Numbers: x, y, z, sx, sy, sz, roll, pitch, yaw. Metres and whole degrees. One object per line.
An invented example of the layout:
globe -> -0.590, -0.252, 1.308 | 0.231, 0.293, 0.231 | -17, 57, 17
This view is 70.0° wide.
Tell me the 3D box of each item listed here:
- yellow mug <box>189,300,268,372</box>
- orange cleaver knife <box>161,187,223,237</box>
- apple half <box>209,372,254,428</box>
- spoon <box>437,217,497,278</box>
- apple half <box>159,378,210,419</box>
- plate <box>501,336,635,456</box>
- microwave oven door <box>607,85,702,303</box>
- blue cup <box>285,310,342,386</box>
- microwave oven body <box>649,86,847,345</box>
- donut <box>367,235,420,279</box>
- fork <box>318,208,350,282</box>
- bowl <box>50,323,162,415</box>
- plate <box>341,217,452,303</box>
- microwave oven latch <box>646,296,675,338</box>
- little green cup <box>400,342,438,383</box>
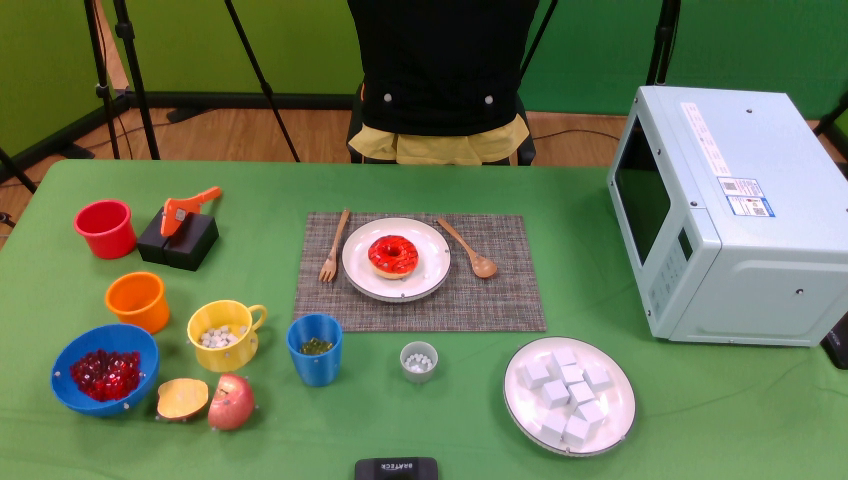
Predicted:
yellow mug -> -0.316, 0.148, 1.002 | 0.131, 0.064, 0.099 | -32, 55, -31
orange cleaver knife -> -0.448, -0.059, 1.181 | 0.012, 0.077, 0.211 | 14, 17, 6
apple half -> -0.282, 0.243, 0.908 | 0.053, 0.075, 0.080 | 7, 42, -2
spoon -> 0.080, 0.010, 1.188 | 0.041, 0.022, 0.192 | -34, 55, -7
apple half -> -0.366, 0.247, 0.926 | 0.081, 0.033, 0.081 | 8, 31, -5
plate -> 0.225, 0.248, 0.963 | 0.208, 0.039, 0.206 | 2, 46, -2
microwave oven door -> 0.423, -0.094, 1.141 | 0.039, 0.245, 0.353 | 2, 46, -1
blue cup -> -0.170, 0.179, 0.958 | 0.093, 0.101, 0.092 | 2, 44, -1
microwave oven body -> 0.568, -0.053, 1.118 | 0.326, 0.261, 0.439 | 2, 45, -1
donut -> -0.056, 0.032, 1.132 | 0.099, 0.048, 0.098 | 3, 45, -3
fork -> -0.170, 0.006, 1.177 | 0.028, 0.019, 0.206 | 2, 47, 9
bowl -> -0.472, 0.209, 0.924 | 0.151, 0.077, 0.150 | 3, 45, -2
plate -> -0.052, 0.039, 1.140 | 0.209, 0.038, 0.208 | 2, 46, -2
microwave oven latch -> 0.412, 0.134, 1.061 | 0.030, 0.029, 0.078 | 4, 45, 1
little green cup -> -0.010, 0.202, 0.991 | 0.061, 0.039, 0.061 | 2, 47, -2
